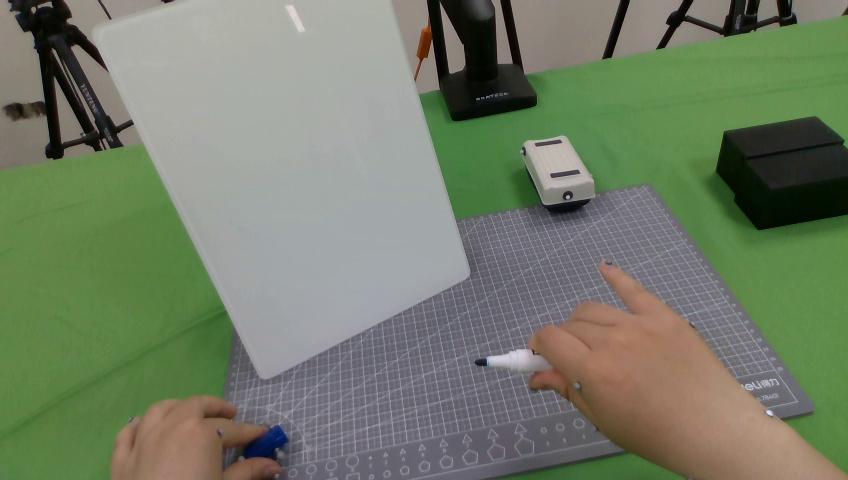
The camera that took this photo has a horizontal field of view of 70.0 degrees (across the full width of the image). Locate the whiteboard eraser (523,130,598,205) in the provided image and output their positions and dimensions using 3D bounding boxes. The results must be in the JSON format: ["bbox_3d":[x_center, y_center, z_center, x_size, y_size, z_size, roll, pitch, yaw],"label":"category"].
[{"bbox_3d":[0.148,-0.080,0.668,0.055,0.042,0.111,-11,37,2],"label":"whiteboard eraser"}]

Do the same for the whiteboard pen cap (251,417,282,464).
[{"bbox_3d":[-0.120,0.153,0.461,0.018,0.018,0.033,0,56,11],"label":"whiteboard pen cap"}]

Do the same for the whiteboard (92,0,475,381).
[{"bbox_3d":[-0.113,-0.073,0.552,0.217,0.308,0.142,-25,24,-17],"label":"whiteboard"}]

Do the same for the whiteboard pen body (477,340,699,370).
[{"bbox_3d":[0.104,0.073,0.386,0.141,0.017,0.017,-1,41,-1],"label":"whiteboard pen body"}]
